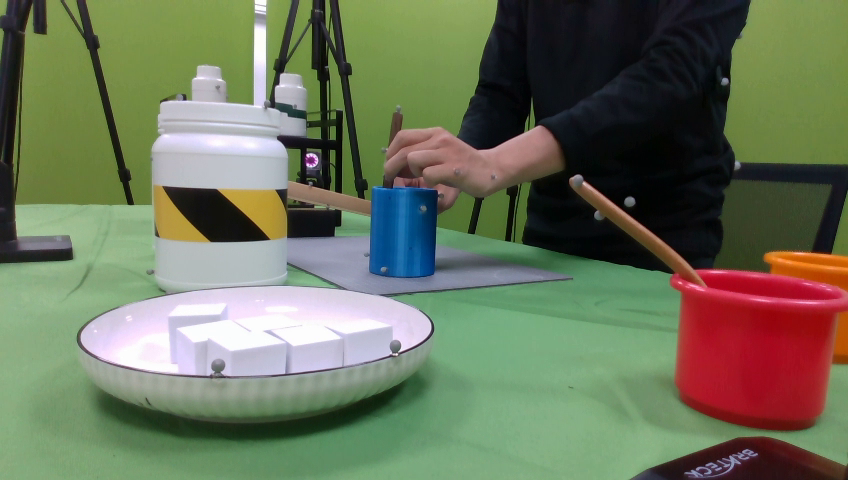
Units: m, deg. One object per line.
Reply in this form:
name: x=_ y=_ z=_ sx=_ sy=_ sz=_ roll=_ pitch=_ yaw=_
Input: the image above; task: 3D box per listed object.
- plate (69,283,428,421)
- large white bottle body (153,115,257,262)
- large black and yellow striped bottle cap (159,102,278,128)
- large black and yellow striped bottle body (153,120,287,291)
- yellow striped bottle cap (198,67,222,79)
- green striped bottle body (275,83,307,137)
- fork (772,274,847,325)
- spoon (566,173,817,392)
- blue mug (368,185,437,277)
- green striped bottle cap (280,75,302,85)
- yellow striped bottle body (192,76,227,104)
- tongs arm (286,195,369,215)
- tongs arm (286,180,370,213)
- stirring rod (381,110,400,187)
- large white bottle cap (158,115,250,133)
plate: x=-0.102 y=0.066 z=0.381 sx=0.208 sy=0.039 sz=0.207 roll=2 pitch=7 yaw=0
large white bottle body: x=-0.293 y=-0.070 z=0.813 sx=0.131 sy=0.184 sz=0.130 roll=2 pitch=7 yaw=0
large black and yellow striped bottle cap: x=-0.207 y=-0.125 z=0.615 sx=0.115 sy=0.019 sz=0.115 roll=2 pitch=6 yaw=0
large black and yellow striped bottle body: x=-0.208 y=-0.042 z=0.626 sx=0.131 sy=0.184 sz=0.130 roll=2 pitch=7 yaw=0
yellow striped bottle cap: x=-0.412 y=-0.320 z=1.162 sx=0.044 sy=0.018 sz=0.044 roll=0 pitch=5 yaw=0
green striped bottle body: x=-0.269 y=-0.269 z=1.221 sx=0.063 sy=0.119 sz=0.063 roll=2 pitch=7 yaw=0
fork: x=0.332 y=0.019 z=0.444 sx=0.028 sy=0.018 sz=0.207 roll=0 pitch=-36 yaw=-14
spoon: x=0.161 y=0.024 z=0.370 sx=0.193 sy=0.021 sz=0.042 roll=47 pitch=17 yaw=3
blue mug: x=-0.026 y=-0.016 z=0.761 sx=0.082 sy=0.106 sz=0.116 roll=2 pitch=7 yaw=1
green striped bottle cap: x=-0.267 y=-0.320 z=1.216 sx=0.044 sy=0.020 sz=0.044 roll=2 pitch=8 yaw=0
yellow striped bottle body: x=-0.414 y=-0.268 z=1.169 sx=0.063 sy=0.120 sz=0.063 roll=2 pitch=7 yaw=0
tongs arm: x=-0.165 y=-0.075 z=1.216 sx=0.389 sy=0.027 sz=0.028 roll=11 pitch=-6 yaw=-24
tongs arm: x=-0.122 y=-0.066 z=1.147 sx=0.387 sy=0.026 sz=0.050 roll=11 pitch=-2 yaw=-37
stirring rod: x=-0.045 y=-0.068 z=0.732 sx=0.014 sy=0.176 sz=0.006 roll=15 pitch=15 yaw=27
large white bottle cap: x=-0.291 y=-0.153 z=0.803 sx=0.115 sy=0.018 sz=0.115 roll=1 pitch=7 yaw=0
